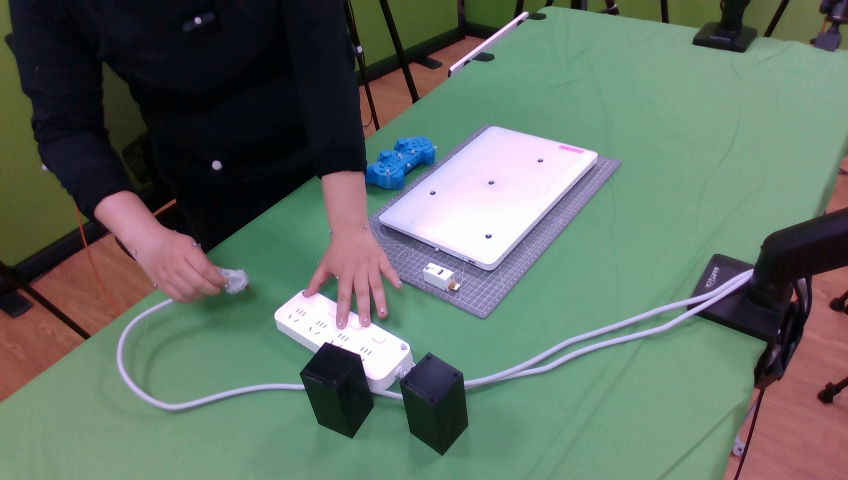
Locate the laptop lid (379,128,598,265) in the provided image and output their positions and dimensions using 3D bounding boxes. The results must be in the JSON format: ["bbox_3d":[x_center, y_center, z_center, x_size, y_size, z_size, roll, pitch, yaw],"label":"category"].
[{"bbox_3d":[0.117,-0.095,1.048,0.239,0.013,0.358,23,49,34],"label":"laptop lid"}]

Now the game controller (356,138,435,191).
[{"bbox_3d":[-0.049,-0.150,1.136,0.096,0.052,0.155,27,51,28],"label":"game controller"}]

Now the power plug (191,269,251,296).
[{"bbox_3d":[-0.286,0.063,0.865,0.072,0.053,0.035,-11,50,14],"label":"power plug"}]

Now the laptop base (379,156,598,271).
[{"bbox_3d":[0.120,-0.085,1.054,0.233,0.023,0.355,21,48,34],"label":"laptop base"}]

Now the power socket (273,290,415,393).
[{"bbox_3d":[-0.115,0.133,0.820,0.225,0.033,0.072,24,47,32],"label":"power socket"}]

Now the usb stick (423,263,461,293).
[{"bbox_3d":[0.028,0.058,0.889,0.059,0.027,0.021,25,47,29],"label":"usb stick"}]
